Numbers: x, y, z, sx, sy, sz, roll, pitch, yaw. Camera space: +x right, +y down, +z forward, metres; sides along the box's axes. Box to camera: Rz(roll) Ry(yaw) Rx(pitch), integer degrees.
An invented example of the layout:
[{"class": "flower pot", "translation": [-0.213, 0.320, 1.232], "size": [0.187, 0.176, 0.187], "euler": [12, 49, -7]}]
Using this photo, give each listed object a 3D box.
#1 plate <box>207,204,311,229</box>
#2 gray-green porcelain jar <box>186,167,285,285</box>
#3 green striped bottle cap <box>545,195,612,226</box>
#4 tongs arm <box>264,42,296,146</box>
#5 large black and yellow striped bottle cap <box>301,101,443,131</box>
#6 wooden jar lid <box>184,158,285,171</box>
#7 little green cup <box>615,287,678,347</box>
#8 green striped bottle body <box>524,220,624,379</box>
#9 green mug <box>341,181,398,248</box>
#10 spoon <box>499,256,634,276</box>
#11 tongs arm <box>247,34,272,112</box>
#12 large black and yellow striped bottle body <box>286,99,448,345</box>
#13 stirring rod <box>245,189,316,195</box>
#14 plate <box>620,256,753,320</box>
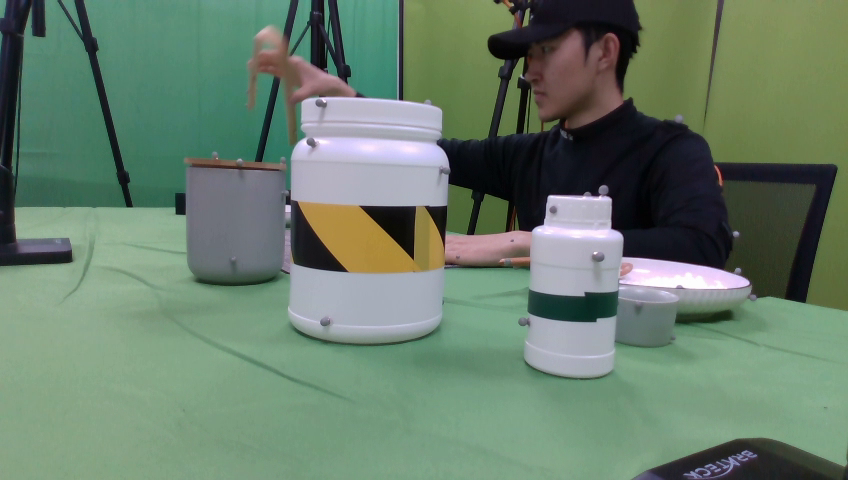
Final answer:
[{"class": "plate", "translation": [-0.342, -0.050, 1.259], "size": [0.208, 0.039, 0.207], "euler": [2, 7, 0]}, {"class": "gray-green porcelain jar", "translation": [-0.212, -0.017, 0.682], "size": [0.106, 0.126, 0.106], "euler": [2, 7, 0]}, {"class": "green striped bottle cap", "translation": [0.106, -0.020, 0.415], "size": [0.044, 0.020, 0.044], "euler": [2, 4, 0]}, {"class": "tongs arm", "translation": [-0.291, -0.285, 1.261], "size": [0.028, 0.028, 0.387], "euler": [43, -16, 6]}, {"class": "large black and yellow striped bottle cap", "translation": [-0.042, -0.100, 0.491], "size": [0.115, 0.019, 0.115], "euler": [1, 8, 0]}, {"class": "wooden jar lid", "translation": [-0.210, -0.078, 0.674], "size": [0.108, 0.020, 0.108], "euler": [5, 6, 0]}, {"class": "little green cup", "translation": [0.180, 0.064, 0.506], "size": [0.061, 0.038, 0.061], "euler": [1, 9, 0]}, {"class": "green striped bottle body", "translation": [0.104, 0.031, 0.422], "size": [0.063, 0.119, 0.063], "euler": [2, 7, 0]}, {"class": "green mug", "translation": [-0.089, -0.044, 0.997], "size": [0.093, 0.105, 0.125], "euler": [1, 7, -8]}, {"class": "spoon", "translation": [0.162, 0.027, 0.679], "size": [0.195, 0.021, 0.041], "euler": [8, 3, -30]}, {"class": "tongs arm", "translation": [-0.345, -0.331, 1.257], "size": [0.051, 0.026, 0.384], "euler": [43, -17, -5]}, {"class": "large black and yellow striped bottle body", "translation": [-0.047, -0.018, 0.501], "size": [0.131, 0.184, 0.130], "euler": [2, 7, 0]}, {"class": "stirring rod", "translation": [-0.351, -0.119, 1.490], "size": [0.177, 0.014, 0.006], "euler": [-2, 5, -29]}, {"class": "plate", "translation": [0.234, 0.049, 0.651], "size": [0.209, 0.038, 0.209], "euler": [2, 7, 0]}]
